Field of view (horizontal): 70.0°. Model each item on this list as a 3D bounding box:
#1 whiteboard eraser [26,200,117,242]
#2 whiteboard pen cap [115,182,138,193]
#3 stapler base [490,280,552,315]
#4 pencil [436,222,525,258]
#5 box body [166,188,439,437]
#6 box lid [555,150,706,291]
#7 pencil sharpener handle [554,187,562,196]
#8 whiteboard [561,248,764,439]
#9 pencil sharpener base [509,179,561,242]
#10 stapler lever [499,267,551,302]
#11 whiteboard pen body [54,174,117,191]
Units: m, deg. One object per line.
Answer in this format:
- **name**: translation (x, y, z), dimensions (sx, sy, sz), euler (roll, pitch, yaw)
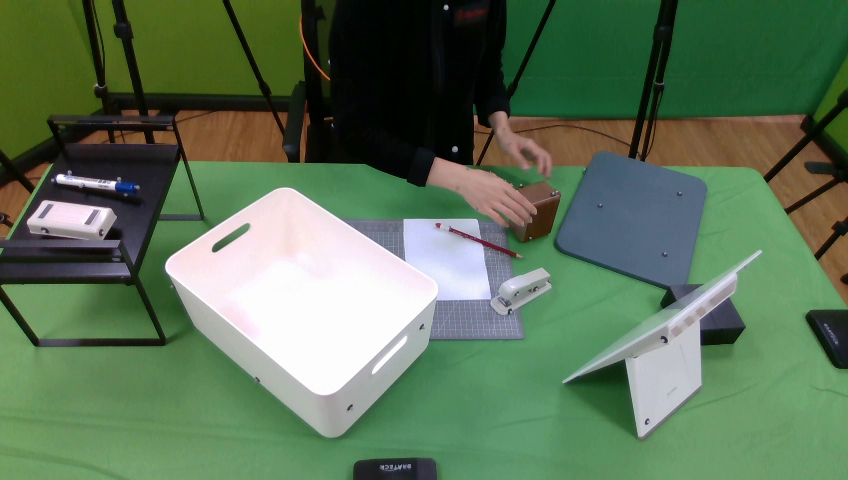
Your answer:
- **whiteboard eraser**: translation (-0.532, -0.026, 0.919), dimensions (0.113, 0.042, 0.055), euler (7, 45, 3)
- **whiteboard pen cap**: translation (-0.483, -0.086, 0.984), dimensions (0.033, 0.018, 0.018), euler (6, 46, 10)
- **stapler base**: translation (0.181, 0.094, 1.118), dimensions (0.130, 0.024, 0.041), euler (-24, 56, -29)
- **pencil**: translation (0.112, 0.001, 1.210), dimensions (0.193, 0.012, 0.012), euler (22, 49, 14)
- **box body**: translation (-0.190, 0.108, 0.980), dimensions (0.362, 0.161, 0.254), euler (32, 52, 23)
- **box lid**: translation (0.451, -0.059, 1.297), dimensions (0.263, 0.015, 0.370), euler (20, 49, 14)
- **pencil sharpener handle**: translation (0.266, -0.085, 1.223), dimensions (0.031, 0.068, 0.036), euler (-18, 64, -20)
- **whiteboard**: translation (0.386, 0.176, 0.905), dimensions (0.217, 0.306, 0.143), euler (-26, 72, -27)
- **pencil sharpener base**: translation (0.222, -0.059, 1.212), dimensions (0.077, 0.107, 0.061), euler (-18, 50, -20)
- **stapler lever**: translation (0.185, 0.076, 1.101), dimensions (0.118, 0.040, 0.026), euler (-25, 56, -29)
- **whiteboard pen body**: translation (-0.541, -0.093, 0.993), dimensions (0.140, 0.017, 0.017), euler (7, 46, 9)
